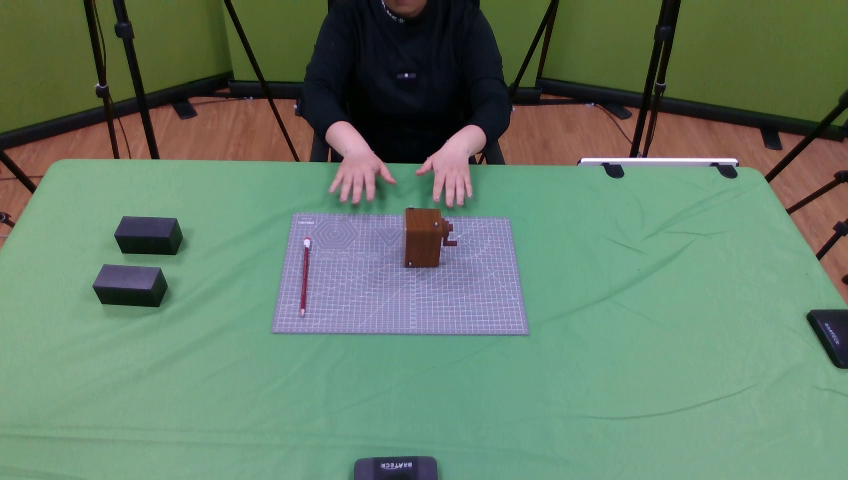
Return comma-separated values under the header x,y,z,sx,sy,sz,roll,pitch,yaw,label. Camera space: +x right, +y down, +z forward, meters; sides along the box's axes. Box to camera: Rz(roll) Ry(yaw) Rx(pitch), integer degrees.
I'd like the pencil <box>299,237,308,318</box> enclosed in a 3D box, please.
x,y,z,sx,sy,sz,roll,pitch,yaw,label
-0.223,0.066,1.120,0.012,0.012,0.192,-1,47,-6,pencil

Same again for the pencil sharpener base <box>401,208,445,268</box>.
x,y,z,sx,sy,sz,roll,pitch,yaw,label
-0.003,-0.003,1.137,0.077,0.107,0.061,0,45,-5,pencil sharpener base

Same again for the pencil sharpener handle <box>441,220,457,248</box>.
x,y,z,sx,sy,sz,roll,pitch,yaw,label
0.049,-0.012,1.132,0.031,0.068,0.036,0,46,-5,pencil sharpener handle
